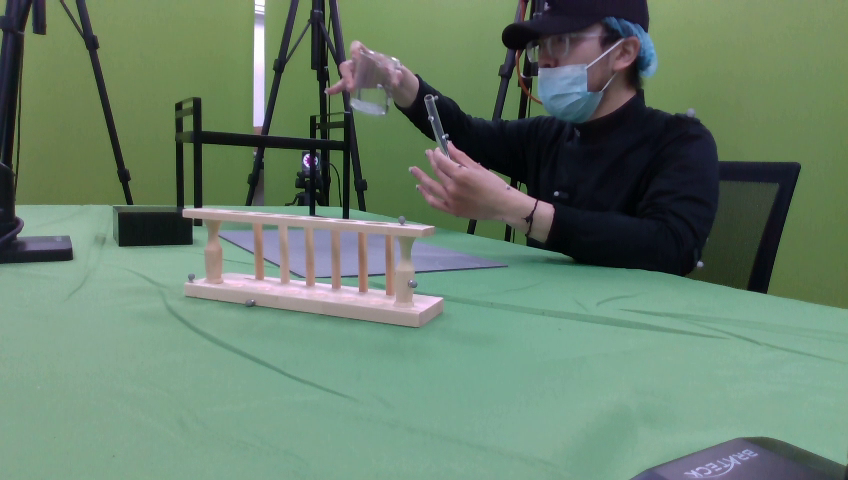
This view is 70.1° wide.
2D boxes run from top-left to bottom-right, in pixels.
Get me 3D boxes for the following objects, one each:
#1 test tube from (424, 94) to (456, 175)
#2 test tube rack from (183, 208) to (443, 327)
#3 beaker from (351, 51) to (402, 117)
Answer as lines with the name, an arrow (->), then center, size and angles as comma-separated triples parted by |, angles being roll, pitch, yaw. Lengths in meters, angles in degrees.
test tube -> 0.026, -0.169, 0.958 | 0.017, 0.150, 0.017 | -14, -21, -5
test tube rack -> -0.106, 0.019, 0.570 | 0.241, 0.085, 0.067 | 5, 8, 19
beaker -> -0.086, -0.274, 1.069 | 0.074, 0.100, 0.083 | 9, 24, -16
